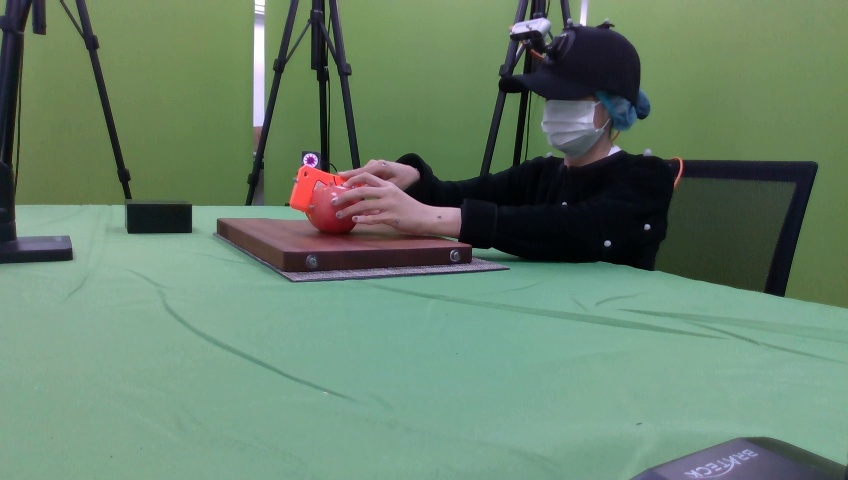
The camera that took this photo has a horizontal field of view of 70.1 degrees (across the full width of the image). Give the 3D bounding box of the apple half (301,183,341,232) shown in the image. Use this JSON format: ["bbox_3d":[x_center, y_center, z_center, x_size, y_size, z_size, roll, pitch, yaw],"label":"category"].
[{"bbox_3d":[-0.164,-0.049,0.934,0.032,0.081,0.082,-2,3,36],"label":"apple half"}]

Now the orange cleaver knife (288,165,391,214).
[{"bbox_3d":[-0.127,-0.074,0.949,0.012,0.077,0.212,11,8,37],"label":"orange cleaver knife"}]

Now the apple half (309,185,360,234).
[{"bbox_3d":[-0.127,-0.045,0.909,0.053,0.074,0.081,13,8,36],"label":"apple half"}]
